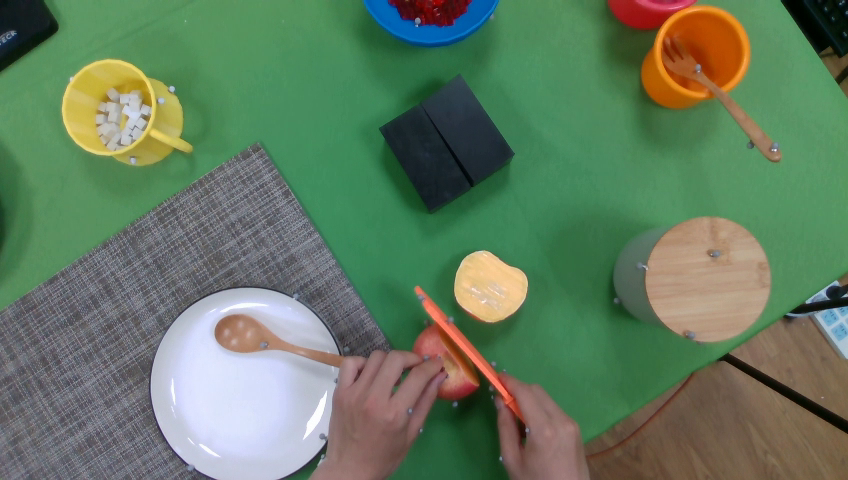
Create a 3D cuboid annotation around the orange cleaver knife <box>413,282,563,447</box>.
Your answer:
[{"bbox_3d":[0.062,0.122,0.604,0.012,0.077,0.212,-42,99,-3],"label":"orange cleaver knife"}]

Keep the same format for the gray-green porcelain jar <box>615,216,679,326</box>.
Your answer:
[{"bbox_3d":[0.249,0.030,0.590,0.106,0.126,0.105,0,89,3],"label":"gray-green porcelain jar"}]

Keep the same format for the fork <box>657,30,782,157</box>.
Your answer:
[{"bbox_3d":[0.278,-0.145,0.578,0.028,0.019,0.205,-16,45,1],"label":"fork"}]

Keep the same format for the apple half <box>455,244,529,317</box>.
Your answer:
[{"bbox_3d":[0.067,0.048,0.641,0.081,0.033,0.080,1,65,-2],"label":"apple half"}]

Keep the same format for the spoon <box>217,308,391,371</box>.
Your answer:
[{"bbox_3d":[-0.127,0.110,0.634,0.193,0.022,0.041,13,88,14],"label":"spoon"}]

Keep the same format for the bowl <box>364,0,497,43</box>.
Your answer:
[{"bbox_3d":[0.009,-0.270,0.628,0.151,0.077,0.151,0,90,3],"label":"bowl"}]

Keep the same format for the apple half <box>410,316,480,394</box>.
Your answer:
[{"bbox_3d":[0.015,0.124,0.627,0.053,0.074,0.081,-37,94,7],"label":"apple half"}]

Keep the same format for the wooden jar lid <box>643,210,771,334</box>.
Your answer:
[{"bbox_3d":[0.244,0.028,0.528,0.108,0.020,0.108,0,91,1],"label":"wooden jar lid"}]

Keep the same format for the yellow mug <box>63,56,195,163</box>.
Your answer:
[{"bbox_3d":[-0.305,-0.130,0.648,0.131,0.064,0.100,28,90,2],"label":"yellow mug"}]

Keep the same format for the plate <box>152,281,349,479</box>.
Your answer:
[{"bbox_3d":[-0.182,0.147,0.649,0.209,0.038,0.209,0,90,3],"label":"plate"}]
